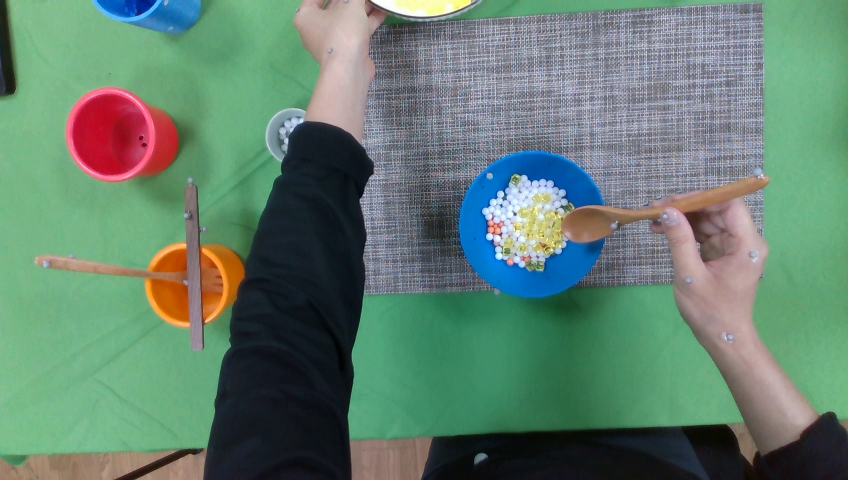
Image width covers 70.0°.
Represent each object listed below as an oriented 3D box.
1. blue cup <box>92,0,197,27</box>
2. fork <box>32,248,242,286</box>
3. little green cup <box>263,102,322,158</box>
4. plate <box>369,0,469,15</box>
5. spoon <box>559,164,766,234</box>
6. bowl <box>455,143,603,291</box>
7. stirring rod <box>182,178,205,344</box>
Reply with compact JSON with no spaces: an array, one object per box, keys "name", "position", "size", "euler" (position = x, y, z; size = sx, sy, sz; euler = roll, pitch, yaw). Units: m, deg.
[{"name":"blue cup","position":[-0.288,-0.266,0.634],"size":[0.092,0.100,0.093],"euler":[1,97,5]},{"name":"fork","position":[-0.295,0.028,0.644],"size":[0.209,0.018,0.028],"euler":[11,101,-42]},{"name":"little green cup","position":[-0.144,-0.120,0.675],"size":[0.061,0.038,0.061],"euler":[0,97,4]},{"name":"plate","position":[-0.005,-0.341,0.640],"size":[0.209,0.038,0.209],"euler":[0,95,0]},{"name":"spoon","position":[0.190,-0.032,0.512],"size":[0.042,0.193,0.021],"euler":[47,62,-18]},{"name":"bowl","position":[0.109,-0.026,0.648],"size":[0.151,0.076,0.151],"euler":[0,96,3]},{"name":"stirring rod","position":[-0.242,0.023,0.637],"size":[0.014,0.006,0.176],"euler":[-1,96,5]}]
